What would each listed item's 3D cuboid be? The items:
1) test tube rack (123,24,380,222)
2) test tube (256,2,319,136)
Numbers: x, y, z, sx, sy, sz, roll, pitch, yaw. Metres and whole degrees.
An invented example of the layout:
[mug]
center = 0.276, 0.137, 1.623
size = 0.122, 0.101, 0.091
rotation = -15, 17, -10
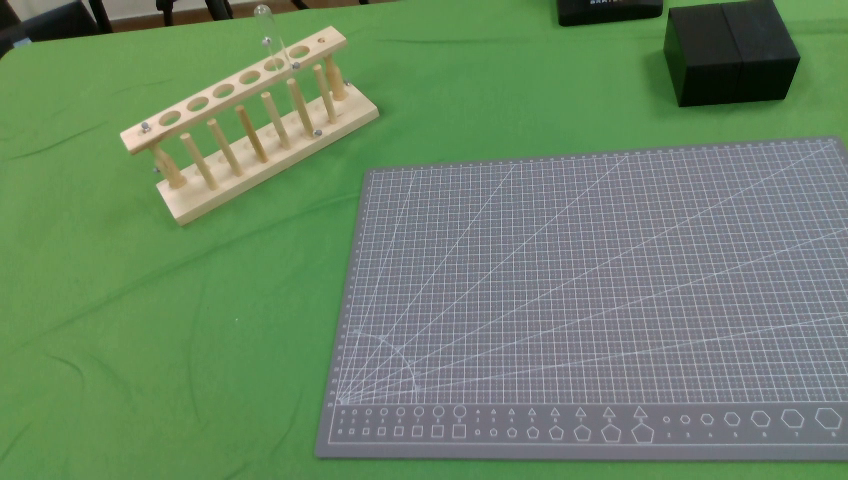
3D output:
[test tube rack]
center = -0.172, -0.125, 0.637
size = 0.242, 0.086, 0.066
rotation = -32, 53, -14
[test tube]
center = -0.133, -0.165, 0.602
size = 0.017, 0.152, 0.017
rotation = -6, 49, 7
